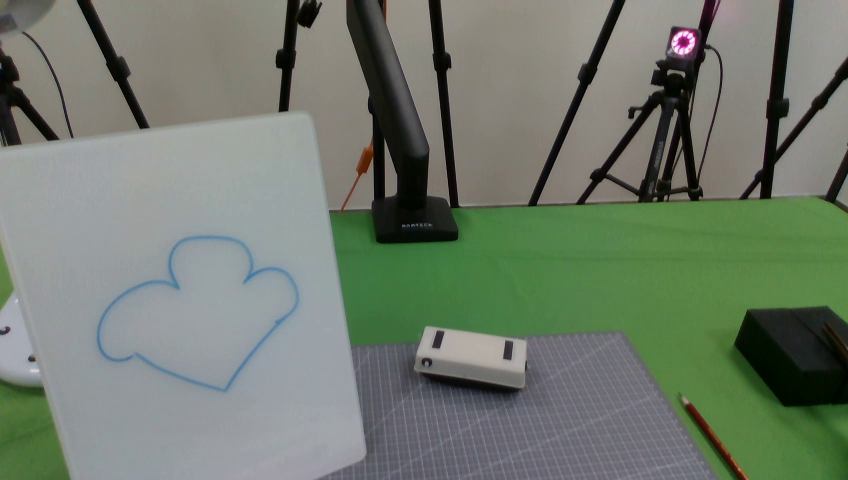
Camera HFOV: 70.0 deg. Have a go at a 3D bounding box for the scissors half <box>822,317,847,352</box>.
[{"bbox_3d":[0.426,0.146,0.584,0.013,0.040,0.173,-10,49,9],"label":"scissors half"}]

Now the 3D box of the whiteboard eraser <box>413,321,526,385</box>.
[{"bbox_3d":[0.049,0.118,0.626,0.112,0.042,0.055,8,32,7],"label":"whiteboard eraser"}]

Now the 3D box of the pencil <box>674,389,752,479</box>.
[{"bbox_3d":[0.281,0.202,0.550,0.012,0.012,0.192,-3,30,-11],"label":"pencil"}]

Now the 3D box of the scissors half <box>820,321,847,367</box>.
[{"bbox_3d":[0.421,0.130,0.570,0.013,0.040,0.174,-7,27,6],"label":"scissors half"}]

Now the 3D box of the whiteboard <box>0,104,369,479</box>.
[{"bbox_3d":[-0.192,0.055,0.512,0.218,0.307,0.142,-14,16,-25],"label":"whiteboard"}]

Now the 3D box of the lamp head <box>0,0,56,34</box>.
[{"bbox_3d":[-0.341,-0.223,0.432,0.112,0.113,0.122,-26,67,-39],"label":"lamp head"}]

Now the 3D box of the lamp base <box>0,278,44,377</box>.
[{"bbox_3d":[-0.382,0.020,0.614,0.178,0.181,0.160,19,34,28],"label":"lamp base"}]
